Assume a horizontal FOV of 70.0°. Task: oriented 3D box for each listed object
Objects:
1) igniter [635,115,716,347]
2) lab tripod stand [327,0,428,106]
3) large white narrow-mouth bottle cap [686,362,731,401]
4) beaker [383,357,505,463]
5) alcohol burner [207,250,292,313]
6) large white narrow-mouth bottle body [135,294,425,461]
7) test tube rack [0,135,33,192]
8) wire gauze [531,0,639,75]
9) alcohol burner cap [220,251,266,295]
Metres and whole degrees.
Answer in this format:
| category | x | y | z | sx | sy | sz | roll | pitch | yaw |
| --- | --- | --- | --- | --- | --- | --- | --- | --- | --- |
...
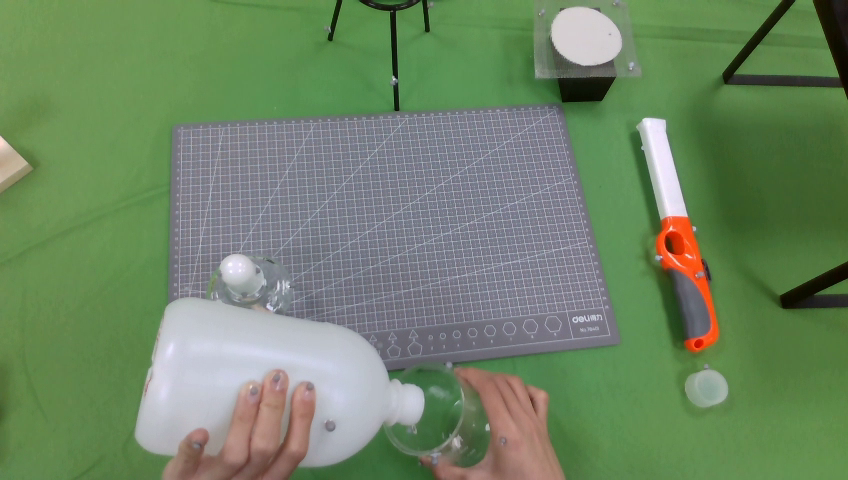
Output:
| category | x | y | z | sx | sy | sz | roll | pitch | yaw |
| --- | --- | --- | --- | --- | --- | --- | --- | --- | --- |
| igniter | 0.278 | -0.017 | 0.674 | 0.057 | 0.025 | 0.274 | 2 | 68 | -16 |
| lab tripod stand | -0.042 | -0.247 | 0.677 | 0.148 | 0.132 | 0.147 | 3 | 69 | -6 |
| large white narrow-mouth bottle cap | 0.288 | 0.143 | 0.615 | 0.038 | 0.024 | 0.037 | 2 | 67 | -4 |
| beaker | 0.020 | 0.151 | 0.522 | 0.084 | 0.101 | 0.073 | -13 | 60 | 25 |
| alcohol burner | -0.162 | 0.040 | 0.557 | 0.078 | 0.120 | 0.077 | 3 | 66 | -6 |
| large white narrow-mouth bottle body | -0.091 | 0.105 | 0.433 | 0.196 | 0.102 | 0.101 | 14 | 65 | -23 |
| test tube rack | -0.514 | -0.033 | 0.568 | 0.066 | 0.085 | 0.242 | 41 | 70 | 11 |
| wire gauze | 0.186 | -0.244 | 0.713 | 0.121 | 0.011 | 0.124 | 2 | 68 | -5 |
| alcohol burner cap | -0.159 | 0.027 | 0.523 | 0.034 | 0.048 | 0.033 | 1 | 73 | -2 |
